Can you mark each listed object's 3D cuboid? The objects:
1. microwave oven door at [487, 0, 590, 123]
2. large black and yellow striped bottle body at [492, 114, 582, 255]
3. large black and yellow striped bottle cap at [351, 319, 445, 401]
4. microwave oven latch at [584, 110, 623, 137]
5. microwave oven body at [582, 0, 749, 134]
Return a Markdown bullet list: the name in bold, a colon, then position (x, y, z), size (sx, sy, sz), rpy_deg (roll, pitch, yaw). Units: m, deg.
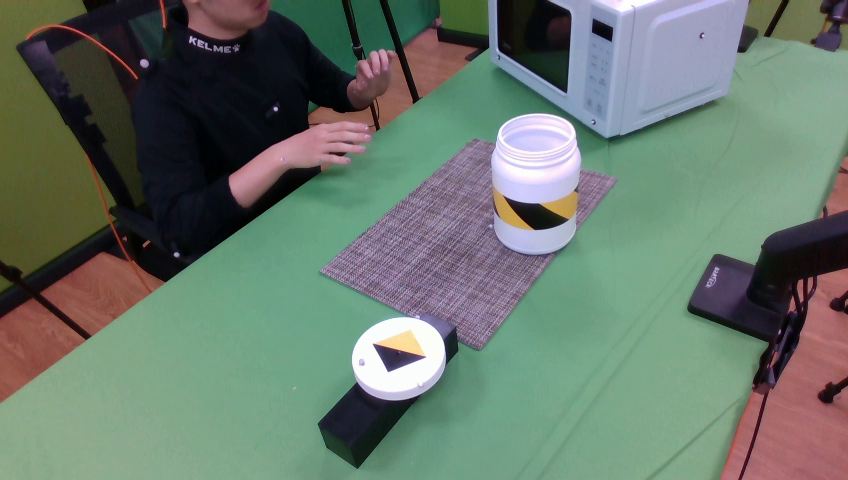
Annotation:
- **microwave oven door**: position (0.232, -0.420, 1.231), size (0.039, 0.245, 0.352), rpy_deg (-22, 43, -16)
- **large black and yellow striped bottle body**: position (0.169, -0.083, 0.912), size (0.131, 0.185, 0.130), rpy_deg (-4, 41, 4)
- **large black and yellow striped bottle cap**: position (-0.031, 0.143, 0.735), size (0.115, 0.019, 0.114), rpy_deg (-3, 40, 3)
- **microwave oven latch**: position (0.337, -0.222, 1.142), size (0.030, 0.029, 0.078), rpy_deg (-21, 42, -14)
- **microwave oven body**: position (0.382, -0.444, 1.246), size (0.327, 0.261, 0.437), rpy_deg (-22, 42, -16)
